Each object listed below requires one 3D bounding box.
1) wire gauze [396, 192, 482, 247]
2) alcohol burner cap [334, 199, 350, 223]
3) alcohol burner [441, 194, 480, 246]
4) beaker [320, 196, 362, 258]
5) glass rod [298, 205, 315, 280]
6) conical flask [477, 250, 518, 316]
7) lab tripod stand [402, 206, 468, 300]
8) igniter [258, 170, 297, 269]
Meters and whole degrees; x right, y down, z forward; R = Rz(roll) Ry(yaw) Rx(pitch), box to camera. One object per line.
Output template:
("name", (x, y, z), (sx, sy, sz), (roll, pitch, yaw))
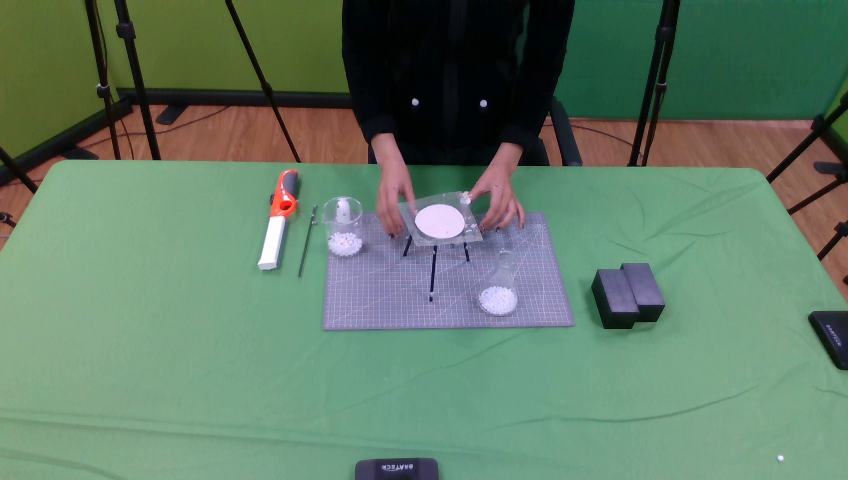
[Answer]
("wire gauze", (0.025, -0.036, 1.061), (0.125, 0.011, 0.120), (-9, 47, -14))
("alcohol burner cap", (-0.168, -0.061, 1.227), (0.034, 0.048, 0.033), (2, 46, -2))
("alcohol burner", (0.073, -0.045, 1.182), (0.078, 0.119, 0.077), (3, 47, -3))
("beaker", (-0.156, -0.020, 1.150), (0.084, 0.101, 0.073), (-30, 54, -28))
("glass rod", (-0.231, 0.001, 1.192), (0.008, 0.008, 0.198), (2, 47, -1))
("conical flask", (0.136, 0.072, 1.067), (0.075, 0.122, 0.075), (2, 46, -2))
("lab tripod stand", (0.023, 0.013, 1.108), (0.148, 0.132, 0.147), (3, 44, -2))
("igniter", (-0.294, -0.049, 1.221), (0.057, 0.025, 0.275), (-5, 45, 4))
